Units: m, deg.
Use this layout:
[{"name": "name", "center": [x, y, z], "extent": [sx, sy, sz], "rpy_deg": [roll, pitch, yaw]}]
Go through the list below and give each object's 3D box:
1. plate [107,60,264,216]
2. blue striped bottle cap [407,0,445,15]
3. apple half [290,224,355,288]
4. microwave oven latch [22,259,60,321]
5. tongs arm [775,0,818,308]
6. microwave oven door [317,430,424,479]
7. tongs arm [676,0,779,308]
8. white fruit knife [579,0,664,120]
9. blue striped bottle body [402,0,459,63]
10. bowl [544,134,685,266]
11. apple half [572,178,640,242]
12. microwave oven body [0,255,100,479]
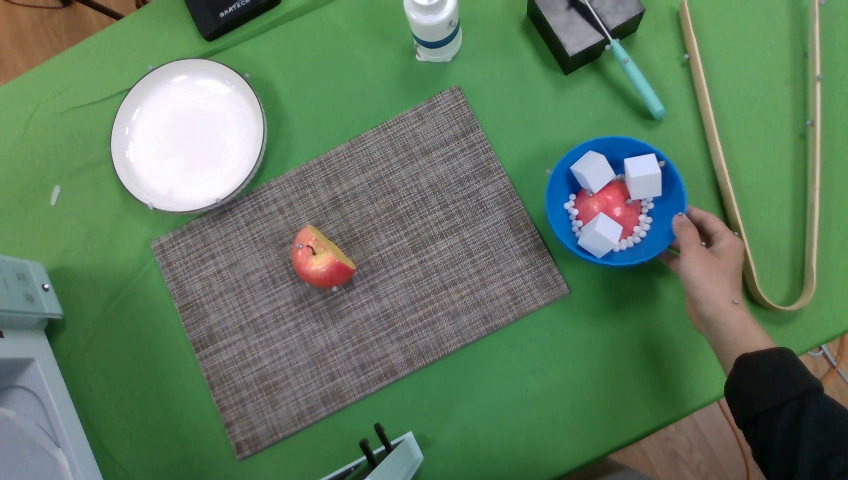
[{"name": "plate", "center": [-0.307, -0.130, 0.792], "extent": [0.207, 0.039, 0.207], "rpy_deg": [-1, 81, 6]}, {"name": "blue striped bottle cap", "center": [0.002, -0.279, 0.685], "extent": [0.044, 0.021, 0.044], "rpy_deg": [-1, 83, 5]}, {"name": "apple half", "center": [-0.128, 0.027, 0.726], "extent": [0.080, 0.075, 0.053], "rpy_deg": [43, 93, 7]}, {"name": "microwave oven latch", "center": [-0.492, 0.063, 0.764], "extent": [0.030, 0.029, 0.079], "rpy_deg": [-29, 80, 1]}, {"name": "tongs arm", "center": [0.432, -0.112, 0.706], "extent": [0.050, 0.026, 0.383], "rpy_deg": [2, 82, 7]}, {"name": "microwave oven door", "center": [-0.177, 0.300, 0.589], "extent": [0.356, 0.245, 0.039], "rpy_deg": [-29, 78, 1]}, {"name": "tongs arm", "center": [0.351, -0.108, 0.718], "extent": [0.028, 0.028, 0.386], "rpy_deg": [-10, 80, 2]}, {"name": "white fruit knife", "center": [0.224, -0.230, 0.722], "extent": [0.016, 0.027, 0.208], "rpy_deg": [-35, 96, 18]}, {"name": "blue striped bottle body", "center": [0.009, -0.270, 0.735], "extent": [0.063, 0.121, 0.063], "rpy_deg": [-1, 80, 7]}, {"name": "bowl", "center": [0.211, -0.037, 0.696], "extent": [0.151, 0.077, 0.150], "rpy_deg": [-2, 77, 7]}, {"name": "apple half", "center": [0.211, -0.037, 0.691], "extent": [0.081, 0.033, 0.081], "rpy_deg": [-2, 77, 8]}, {"name": "microwave oven body", "center": [-0.551, 0.270, 0.640], "extent": [0.326, 0.261, 0.439], "rpy_deg": [-29, 80, 1]}]
